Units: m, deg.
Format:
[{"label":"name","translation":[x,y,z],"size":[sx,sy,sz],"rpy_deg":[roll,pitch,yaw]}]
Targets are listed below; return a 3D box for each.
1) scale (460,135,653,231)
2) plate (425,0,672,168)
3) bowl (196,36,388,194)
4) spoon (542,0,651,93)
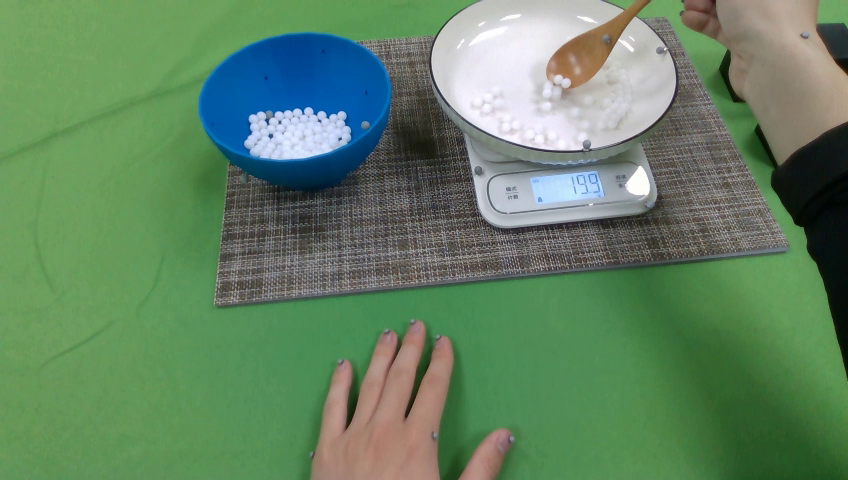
[{"label":"scale","translation":[0.106,-0.099,0.538],"size":[0.149,0.032,0.199],"rpy_deg":[-6,55,-3]},{"label":"plate","translation":[0.104,-0.137,0.524],"size":[0.209,0.038,0.207],"rpy_deg":[0,55,0]},{"label":"bowl","translation":[-0.102,-0.091,0.506],"size":[0.151,0.077,0.150],"rpy_deg":[0,55,1]},{"label":"spoon","translation":[0.169,-0.183,0.468],"size":[0.022,0.194,0.041],"rpy_deg":[-2,61,-46]}]
